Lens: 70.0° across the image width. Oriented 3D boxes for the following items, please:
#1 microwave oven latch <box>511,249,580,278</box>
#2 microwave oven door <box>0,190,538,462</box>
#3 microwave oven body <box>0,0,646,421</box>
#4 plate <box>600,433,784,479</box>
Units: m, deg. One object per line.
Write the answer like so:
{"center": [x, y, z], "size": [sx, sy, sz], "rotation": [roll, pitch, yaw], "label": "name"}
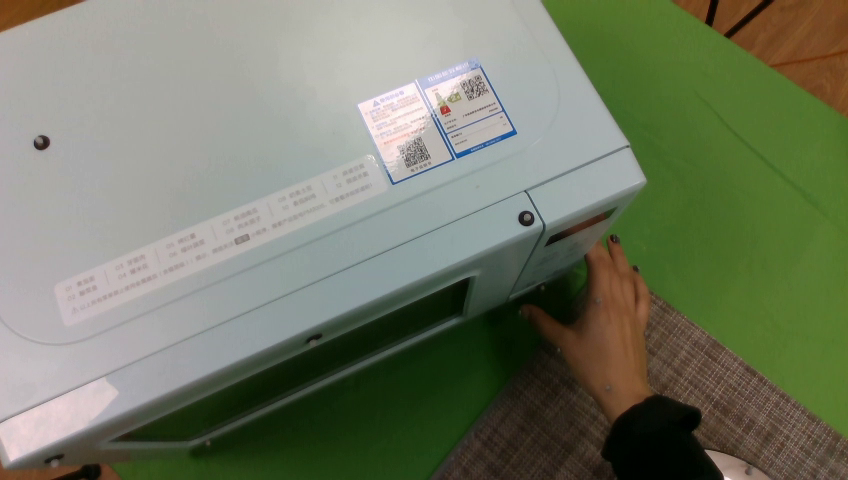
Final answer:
{"center": [0.113, 0.016, 0.606], "size": [0.079, 0.029, 0.030], "rotation": [-16, 75, -4], "label": "microwave oven latch"}
{"center": [-0.089, 0.078, 0.483], "size": [0.356, 0.245, 0.039], "rotation": [-24, 74, -6], "label": "microwave oven door"}
{"center": [-0.112, -0.065, 0.530], "size": [0.442, 0.261, 0.324], "rotation": [-24, 75, -6], "label": "microwave oven body"}
{"center": [0.243, 0.282, 0.543], "size": [0.209, 0.038, 0.208], "rotation": [0, 74, 0], "label": "plate"}
